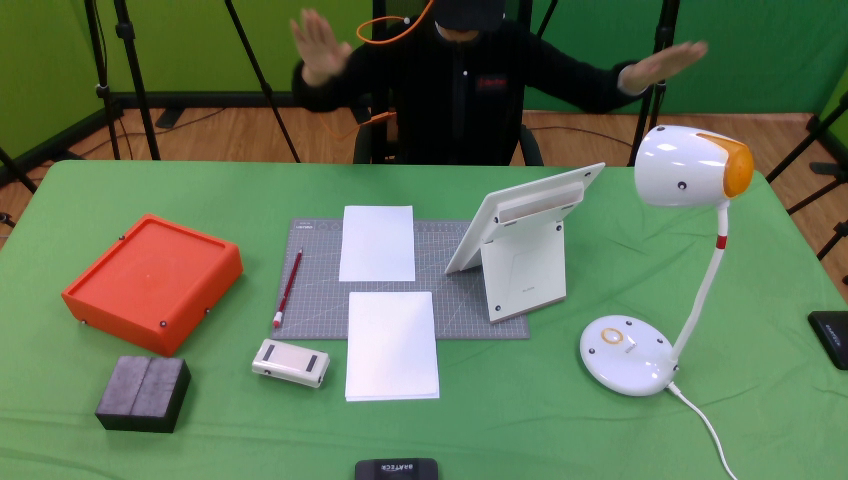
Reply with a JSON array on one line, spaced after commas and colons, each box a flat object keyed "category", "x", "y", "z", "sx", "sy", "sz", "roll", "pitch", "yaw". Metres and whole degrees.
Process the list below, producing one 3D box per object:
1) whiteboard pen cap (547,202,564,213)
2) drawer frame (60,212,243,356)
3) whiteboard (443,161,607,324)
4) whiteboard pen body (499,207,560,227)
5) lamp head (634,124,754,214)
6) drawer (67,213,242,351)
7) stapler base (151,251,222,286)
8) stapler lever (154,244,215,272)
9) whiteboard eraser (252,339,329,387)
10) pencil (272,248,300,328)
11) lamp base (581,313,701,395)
[{"category": "whiteboard pen cap", "x": 0.277, "y": -0.066, "z": 1.275, "sx": 0.033, "sy": 0.018, "sz": 0.018, "roll": -18, "pitch": 50, "yaw": -15}, {"category": "drawer frame", "x": -0.462, "y": 0.070, "z": 1.053, "sx": 0.201, "sy": 0.083, "sz": 0.213, "roll": 18, "pitch": 48, "yaw": 12}, {"category": "whiteboard", "x": 0.185, "y": 0.026, "z": 1.028, "sx": 0.217, "sy": 0.306, "sz": 0.143, "roll": -15, "pitch": 68, "yaw": -18}, {"category": "whiteboard pen body", "x": 0.222, "y": -0.051, "z": 1.259, "sx": 0.141, "sy": 0.017, "sz": 0.017, "roll": -16, "pitch": 49, "yaw": -16}, {"category": "lamp head", "x": 0.351, "y": -0.089, "z": 0.775, "sx": 0.112, "sy": 0.113, "sz": 0.122, "roll": -30, "pitch": 30, "yaw": -28}, {"category": "drawer", "x": -0.461, "y": 0.068, "z": 1.057, "sx": 0.194, "sy": 0.073, "sz": 0.211, "roll": 19, "pitch": 48, "yaw": 13}, {"category": "stapler base", "x": -0.431, "y": 0.047, "z": 1.103, "sx": 0.130, "sy": 0.024, "sz": 0.041, "roll": 17, "pitch": 34, "yaw": 13}, {"category": "stapler lever", "x": -0.430, "y": 0.026, "z": 1.088, "sx": 0.118, "sy": 0.040, "sz": 0.027, "roll": 16, "pitch": 34, "yaw": 13}, {"category": "whiteboard eraser", "x": -0.215, "y": 0.199, "z": 0.976, "sx": 0.112, "sy": 0.042, "sz": 0.055, "roll": 12, "pitch": 45, "yaw": 7}, {"category": "pencil", "x": -0.248, "y": 0.081, "z": 1.104, "sx": 0.012, "sy": 0.012, "sz": 0.193, "roll": 6, "pitch": 45, "yaw": 1}, {"category": "lamp base", "x": 0.361, "y": 0.144, "z": 0.973, "sx": 0.178, "sy": 0.181, "sz": 0.160, "roll": 34, "pitch": 53, "yaw": 23}]
